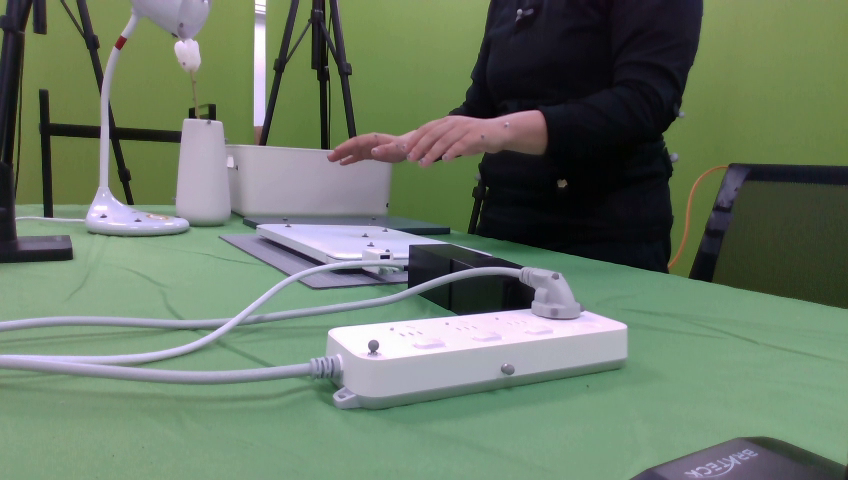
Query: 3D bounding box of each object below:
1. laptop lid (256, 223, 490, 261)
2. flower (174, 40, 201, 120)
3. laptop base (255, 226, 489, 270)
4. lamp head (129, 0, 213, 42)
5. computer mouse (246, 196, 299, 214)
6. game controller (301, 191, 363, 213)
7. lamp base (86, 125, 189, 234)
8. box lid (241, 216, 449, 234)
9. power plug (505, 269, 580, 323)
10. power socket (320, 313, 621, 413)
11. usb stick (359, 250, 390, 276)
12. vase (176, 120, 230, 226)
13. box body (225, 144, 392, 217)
[{"bbox_3d":[-0.093,0.000,0.912,0.243,0.013,0.355,1,7,-30],"label":"laptop lid"},{"bbox_3d":[-0.430,-0.211,1.165,0.044,0.361,0.038,-10,-5,-24],"label":"flower"},{"bbox_3d":[-0.095,0.011,0.911,0.237,0.023,0.352,3,6,-32],"label":"laptop base"},{"bbox_3d":[-0.423,-0.394,0.980,0.123,0.112,0.112,20,7,-3],"label":"lamp head"},{"bbox_3d":[-0.355,-0.083,1.418,0.117,0.041,0.063,0,9,7],"label":"computer mouse"},{"bbox_3d":[-0.240,-0.098,1.550,0.155,0.051,0.097,3,9,5],"label":"game controller"},{"bbox_3d":[-0.497,-0.105,1.027,0.179,0.180,0.160,1,7,3],"label":"lamp base"},{"bbox_3d":[-0.162,-0.030,1.233,0.373,0.015,0.262,-1,8,-32],"label":"box lid"},{"bbox_3d":[0.092,0.051,0.470,0.035,0.052,0.072,0,6,-16],"label":"power plug"},{"bbox_3d":[0.038,0.075,0.409,0.228,0.032,0.072,-2,8,-29],"label":"power socket"},{"bbox_3d":[-0.061,0.026,0.709,0.021,0.027,0.059,-2,3,-30],"label":"usb stick"},{"bbox_3d":[-0.424,-0.128,1.159,0.098,0.200,0.098,2,9,0],"label":"vase"},{"bbox_3d":[-0.289,-0.143,1.475,0.366,0.160,0.253,-1,9,-29],"label":"box body"}]
